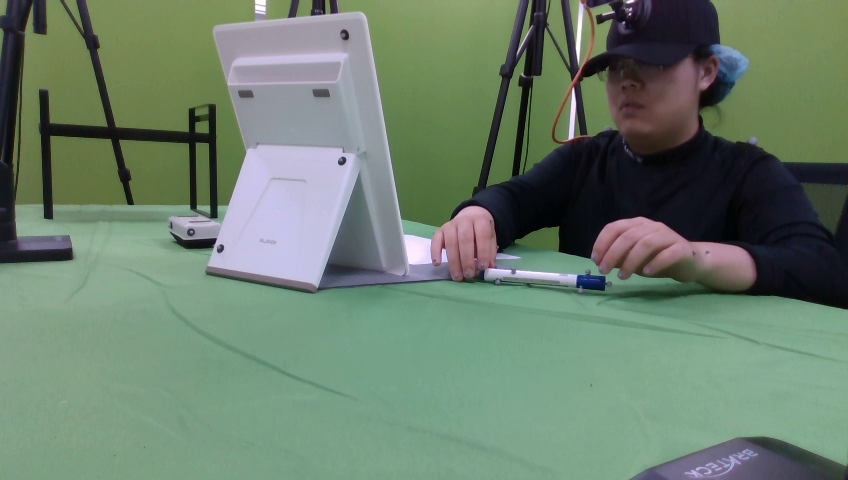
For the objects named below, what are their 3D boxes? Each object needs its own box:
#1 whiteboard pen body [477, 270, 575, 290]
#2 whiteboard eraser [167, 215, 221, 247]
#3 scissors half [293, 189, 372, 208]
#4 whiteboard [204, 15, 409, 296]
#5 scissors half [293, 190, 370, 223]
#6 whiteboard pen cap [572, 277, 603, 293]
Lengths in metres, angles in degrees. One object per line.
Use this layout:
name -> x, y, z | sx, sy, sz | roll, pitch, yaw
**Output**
whiteboard pen body -> 0.131, 0.047, 0.707 | 0.140, 0.017, 0.017 | 3, 7, 17
whiteboard eraser -> -0.350, -0.014, 0.920 | 0.056, 0.042, 0.112 | 0, 7, -35
scissors half -> -0.201, -0.096, 1.333 | 0.175, 0.040, 0.013 | 5, 18, -4
whiteboard -> -0.166, -0.072, 0.669 | 0.216, 0.305, 0.144 | 8, 30, 30
scissors half -> -0.205, -0.078, 1.338 | 0.175, 0.040, 0.013 | 22, 11, -8
whiteboard pen cap -> 0.186, 0.051, 0.687 | 0.033, 0.018, 0.018 | 4, 7, 19
